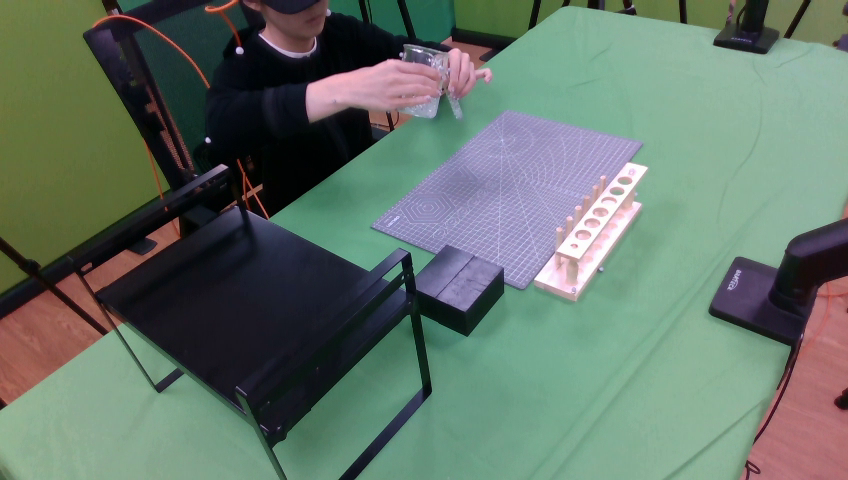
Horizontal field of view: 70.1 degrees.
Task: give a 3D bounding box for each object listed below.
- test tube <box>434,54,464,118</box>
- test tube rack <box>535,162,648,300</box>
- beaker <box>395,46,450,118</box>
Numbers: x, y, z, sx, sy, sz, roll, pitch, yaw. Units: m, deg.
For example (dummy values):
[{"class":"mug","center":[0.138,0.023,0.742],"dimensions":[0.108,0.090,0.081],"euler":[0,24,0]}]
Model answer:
[{"class":"test tube","center":[0.046,-0.262,1.046],"dimensions":[0.017,0.151,0.017],"euler":[-9,59,15]},{"class":"test tube rack","center":[0.257,-0.024,0.916],"dimensions":[0.066,0.085,0.243],"euler":[22,49,30]},{"class":"beaker","center":[-0.003,-0.247,0.953],"dimensions":[0.073,0.100,0.084],"euler":[18,15,21]}]
